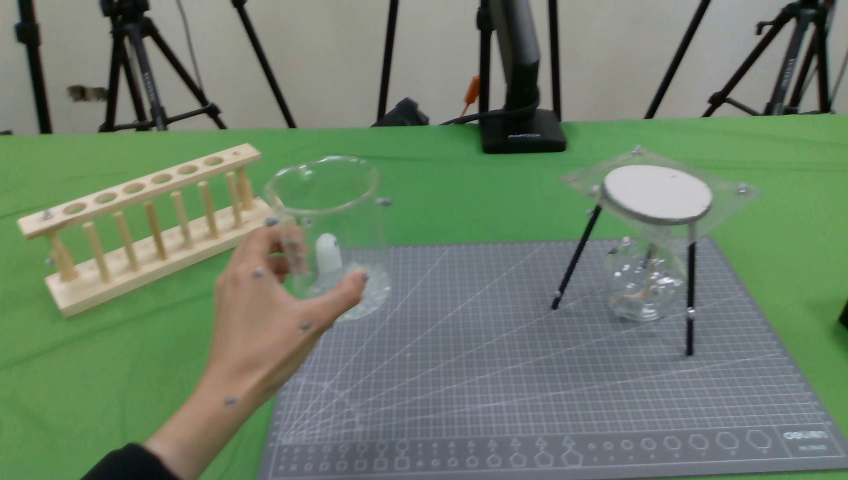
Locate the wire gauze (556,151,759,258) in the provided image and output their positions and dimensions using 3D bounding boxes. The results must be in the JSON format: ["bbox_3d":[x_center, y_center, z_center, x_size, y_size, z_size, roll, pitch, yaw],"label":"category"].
[{"bbox_3d":[0.195,-0.040,0.510,0.121,0.011,0.123,-24,43,-29],"label":"wire gauze"}]

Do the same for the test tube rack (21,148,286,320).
[{"bbox_3d":[-0.279,-0.014,0.656,0.242,0.086,0.066,-27,42,-31],"label":"test tube rack"}]

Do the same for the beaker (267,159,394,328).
[{"bbox_3d":[-0.061,0.003,0.420,0.074,0.101,0.083,-21,37,-21],"label":"beaker"}]

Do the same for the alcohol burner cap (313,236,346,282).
[{"bbox_3d":[-0.101,0.017,0.637,0.034,0.048,0.033,0,36,1],"label":"alcohol burner cap"}]

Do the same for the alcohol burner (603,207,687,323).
[{"bbox_3d":[0.209,0.018,0.561,0.078,0.120,0.077,-1,38,1],"label":"alcohol burner"}]

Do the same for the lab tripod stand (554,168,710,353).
[{"bbox_3d":[0.201,0.014,0.551,0.148,0.132,0.147,0,36,0],"label":"lab tripod stand"}]
